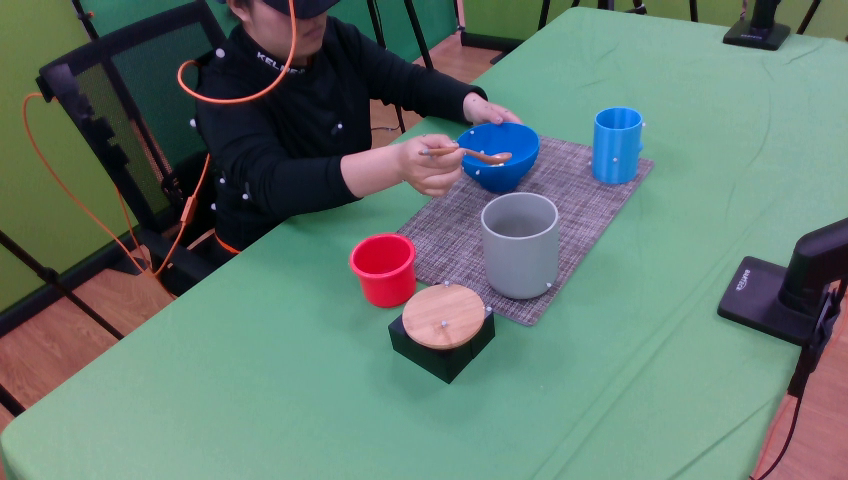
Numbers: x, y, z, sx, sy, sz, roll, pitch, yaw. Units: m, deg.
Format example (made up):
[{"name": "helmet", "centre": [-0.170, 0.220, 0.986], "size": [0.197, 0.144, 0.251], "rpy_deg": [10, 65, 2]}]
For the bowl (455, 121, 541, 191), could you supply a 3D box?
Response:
[{"name": "bowl", "centre": [0.134, -0.141, 1.078], "size": [0.151, 0.077, 0.150], "rpy_deg": [-5, 40, 5]}]

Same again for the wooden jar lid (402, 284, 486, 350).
[{"name": "wooden jar lid", "centre": [0.027, 0.101, 0.786], "size": [0.108, 0.021, 0.108], "rpy_deg": [-5, 39, 4]}]

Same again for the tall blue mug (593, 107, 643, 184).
[{"name": "tall blue mug", "centre": [0.330, -0.172, 1.052], "size": [0.078, 0.108, 0.106], "rpy_deg": [-12, 40, 0]}]

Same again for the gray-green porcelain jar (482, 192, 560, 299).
[{"name": "gray-green porcelain jar", "centre": [0.139, 0.012, 0.858], "size": [0.106, 0.127, 0.105], "rpy_deg": [-6, 40, 5]}]

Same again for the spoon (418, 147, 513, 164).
[{"name": "spoon", "centre": [0.061, -0.123, 0.862], "size": [0.041, 0.021, 0.195], "rpy_deg": [10, 8, 44]}]
